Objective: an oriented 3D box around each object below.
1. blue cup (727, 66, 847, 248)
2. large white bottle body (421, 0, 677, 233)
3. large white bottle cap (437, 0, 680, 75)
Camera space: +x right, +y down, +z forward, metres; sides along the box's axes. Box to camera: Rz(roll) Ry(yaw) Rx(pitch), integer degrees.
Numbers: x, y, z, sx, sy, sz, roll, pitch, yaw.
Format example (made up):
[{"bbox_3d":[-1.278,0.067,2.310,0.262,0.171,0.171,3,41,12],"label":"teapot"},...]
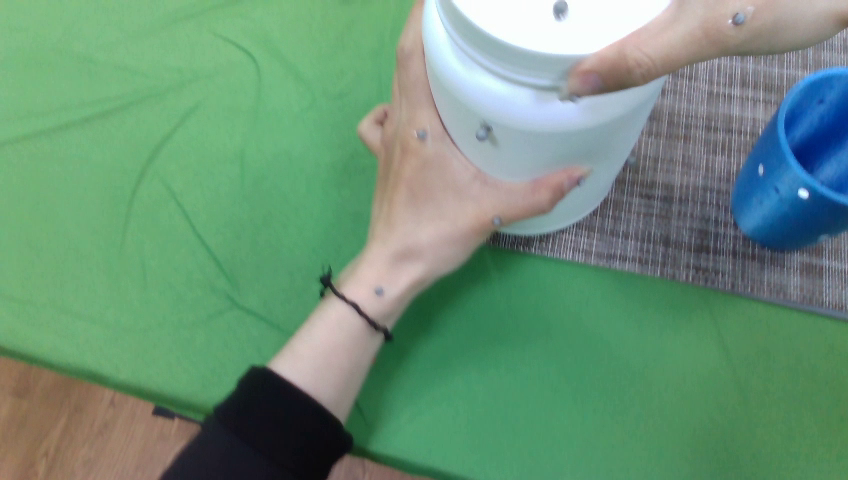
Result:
[{"bbox_3d":[0.235,-0.039,0.369,0.092,0.101,0.092,-1,70,4],"label":"blue cup"},{"bbox_3d":[0.065,-0.095,0.353,0.130,0.186,0.129,-1,69,3],"label":"large white bottle body"},{"bbox_3d":[0.061,-0.126,0.274,0.115,0.018,0.114,-1,69,2],"label":"large white bottle cap"}]
